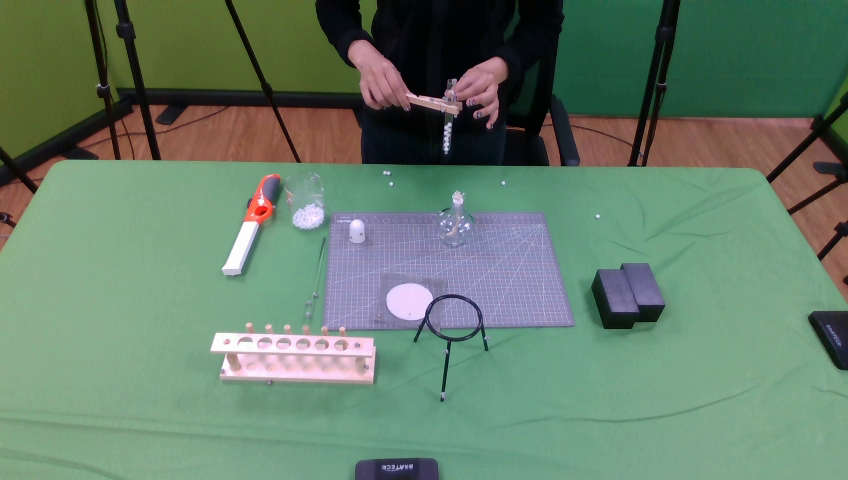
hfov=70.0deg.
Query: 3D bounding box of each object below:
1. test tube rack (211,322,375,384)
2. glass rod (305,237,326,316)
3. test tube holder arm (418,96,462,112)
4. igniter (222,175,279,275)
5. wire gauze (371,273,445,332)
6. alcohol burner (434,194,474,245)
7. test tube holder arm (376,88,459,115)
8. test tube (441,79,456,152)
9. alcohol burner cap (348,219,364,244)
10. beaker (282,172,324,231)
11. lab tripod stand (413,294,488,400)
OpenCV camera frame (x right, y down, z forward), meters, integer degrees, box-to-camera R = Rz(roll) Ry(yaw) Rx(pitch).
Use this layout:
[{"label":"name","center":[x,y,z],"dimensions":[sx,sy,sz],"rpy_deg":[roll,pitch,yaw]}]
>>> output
[{"label":"test tube rack","center":[-0.203,0.176,0.969],"dimensions":[0.242,0.085,0.066],"rpy_deg":[3,46,-2]},{"label":"glass rod","center":[-0.202,0.064,1.131],"dimensions":[0.008,0.008,0.198],"rpy_deg":[4,43,0]},{"label":"test tube holder arm","center":[0.028,-0.253,1.124],"dimensions":[0.087,0.015,0.010],"rpy_deg":[13,39,17]},{"label":"igniter","center":[-0.341,-0.039,1.206],"dimensions":[0.057,0.025,0.275],"rpy_deg":[-1,45,9]},{"label":"wire gauze","center":[-0.028,0.108,1.100],"dimensions":[0.125,0.011,0.121],"rpy_deg":[7,45,4]},{"label":"alcohol burner","center":[0.061,-0.046,1.183],"dimensions":[0.078,0.119,0.077],"rpy_deg":[3,47,-3]},{"label":"test tube holder arm","center":[-0.015,-0.261,1.137],"dimensions":[0.178,0.015,0.013],"rpy_deg":[18,40,23]},{"label":"test tube","center":[0.044,-0.228,1.128],"dimensions":[0.017,0.151,0.017],"rpy_deg":[3,43,-2]},{"label":"alcohol burner cap","center":[-0.134,-0.019,1.190],"dimensions":[0.034,0.048,0.033],"rpy_deg":[2,46,-2]},{"label":"beaker","center":[-0.234,-0.073,1.199],"dimensions":[0.084,0.101,0.074],"rpy_deg":[24,49,17]},{"label":"lab tripod stand","center":[0.044,0.159,0.972],"dimensions":[0.148,0.132,0.147],"rpy_deg":[2,44,-2]}]
